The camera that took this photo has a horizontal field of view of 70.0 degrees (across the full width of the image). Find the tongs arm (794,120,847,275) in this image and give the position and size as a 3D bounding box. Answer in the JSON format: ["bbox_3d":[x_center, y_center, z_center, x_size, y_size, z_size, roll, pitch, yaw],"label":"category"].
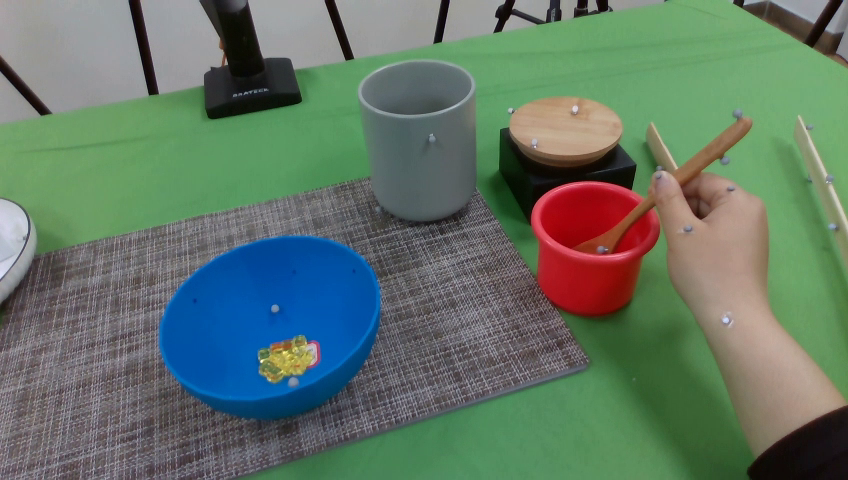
[{"bbox_3d":[0.342,0.010,0.516,0.050,0.027,0.381,4,44,11],"label":"tongs arm"}]

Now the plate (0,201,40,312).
[{"bbox_3d":[-0.454,0.042,0.546,0.209,0.038,0.207,-3,42,3],"label":"plate"}]

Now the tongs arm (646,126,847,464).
[{"bbox_3d":[0.260,0.012,0.527,0.028,0.028,0.383,-3,42,-1],"label":"tongs arm"}]

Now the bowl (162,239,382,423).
[{"bbox_3d":[-0.101,0.078,0.442,0.151,0.077,0.150,-2,42,2],"label":"bowl"}]

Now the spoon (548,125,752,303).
[{"bbox_3d":[0.165,-0.015,0.460,0.022,0.194,0.041,14,42,-32],"label":"spoon"}]

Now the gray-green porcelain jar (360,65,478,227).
[{"bbox_3d":[-0.001,-0.085,0.577,0.106,0.128,0.105,-3,42,3],"label":"gray-green porcelain jar"}]

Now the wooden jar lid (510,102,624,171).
[{"bbox_3d":[0.139,-0.101,0.594,0.108,0.021,0.107,-3,42,3],"label":"wooden jar lid"}]
